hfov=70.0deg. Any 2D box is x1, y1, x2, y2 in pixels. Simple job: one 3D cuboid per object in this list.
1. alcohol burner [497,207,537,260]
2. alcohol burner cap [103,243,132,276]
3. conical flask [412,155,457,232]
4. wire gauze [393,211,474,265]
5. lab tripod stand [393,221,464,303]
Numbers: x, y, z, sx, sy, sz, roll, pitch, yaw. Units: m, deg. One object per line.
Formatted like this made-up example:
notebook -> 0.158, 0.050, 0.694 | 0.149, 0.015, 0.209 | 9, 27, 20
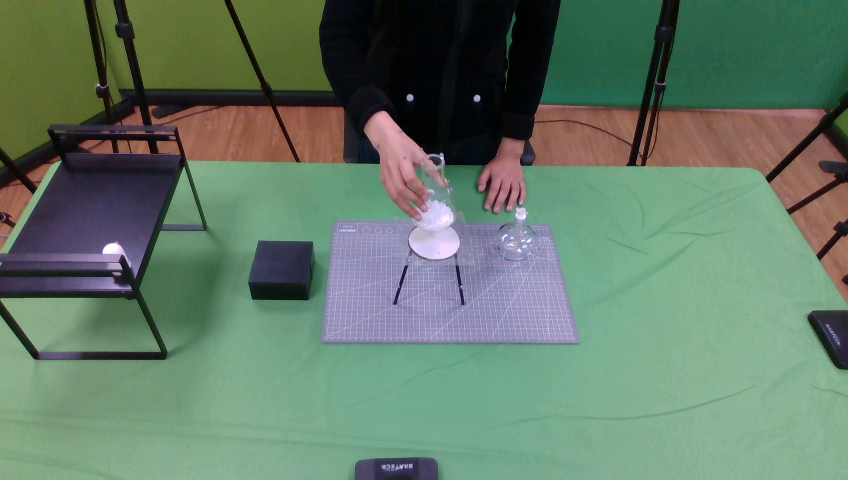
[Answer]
alcohol burner -> 0.180, -0.019, 1.163 | 0.078, 0.120, 0.077 | 1, 48, -1
alcohol burner cap -> -0.446, 0.025, 0.875 | 0.034, 0.048, 0.033 | 3, 46, -3
conical flask -> 0.015, -0.077, 0.968 | 0.075, 0.122, 0.075 | -1, 45, 1
wire gauze -> 0.015, -0.003, 1.028 | 0.125, 0.011, 0.120 | -4, 47, -7
lab tripod stand -> 0.010, 0.045, 1.074 | 0.148, 0.132, 0.147 | 2, 48, -2
